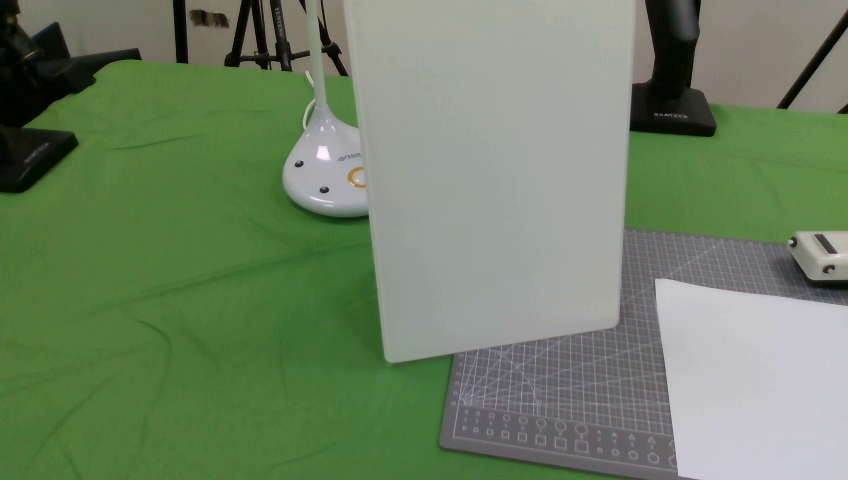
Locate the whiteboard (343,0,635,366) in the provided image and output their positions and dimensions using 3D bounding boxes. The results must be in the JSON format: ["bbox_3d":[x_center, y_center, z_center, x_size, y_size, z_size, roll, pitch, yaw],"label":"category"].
[{"bbox_3d":[0.049,-0.071,0.542,0.217,0.307,0.142,-7,22,-8],"label":"whiteboard"}]

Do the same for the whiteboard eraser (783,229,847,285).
[{"bbox_3d":[0.424,0.017,0.600,0.113,0.042,0.055,0,42,0],"label":"whiteboard eraser"}]

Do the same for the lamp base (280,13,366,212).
[{"bbox_3d":[-0.099,-0.150,0.683,0.161,0.182,0.177,-27,46,-29],"label":"lamp base"}]
